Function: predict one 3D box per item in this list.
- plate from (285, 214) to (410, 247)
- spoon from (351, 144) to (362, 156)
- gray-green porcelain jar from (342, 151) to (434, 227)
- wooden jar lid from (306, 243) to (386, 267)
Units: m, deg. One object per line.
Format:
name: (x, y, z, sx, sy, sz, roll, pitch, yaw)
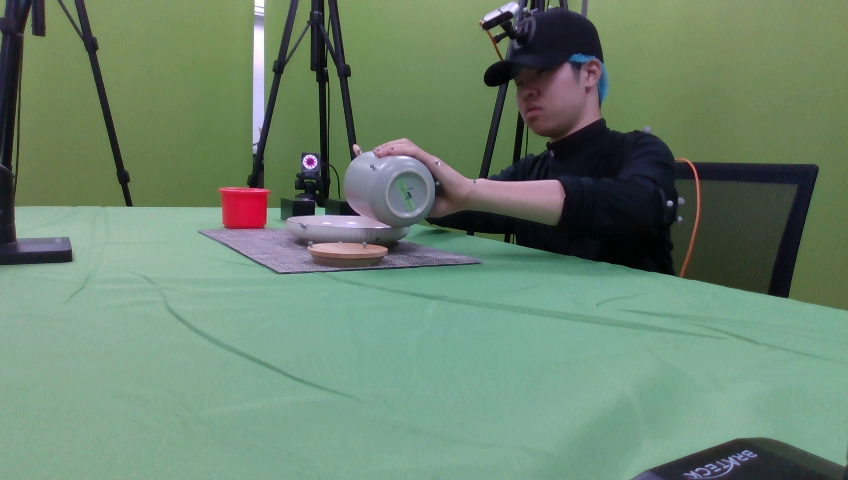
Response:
plate: (-0.126, -0.015, 1.012, 0.208, 0.039, 0.207, 3, 7, 0)
spoon: (-0.071, -0.102, 0.941, 0.042, 0.021, 0.192, -3, 33, -37)
gray-green porcelain jar: (-0.052, -0.077, 0.901, 0.106, 0.106, 0.126, -1, 11, -27)
wooden jar lid: (-0.105, 0.020, 0.816, 0.108, 0.020, 0.108, 1, 7, 0)
